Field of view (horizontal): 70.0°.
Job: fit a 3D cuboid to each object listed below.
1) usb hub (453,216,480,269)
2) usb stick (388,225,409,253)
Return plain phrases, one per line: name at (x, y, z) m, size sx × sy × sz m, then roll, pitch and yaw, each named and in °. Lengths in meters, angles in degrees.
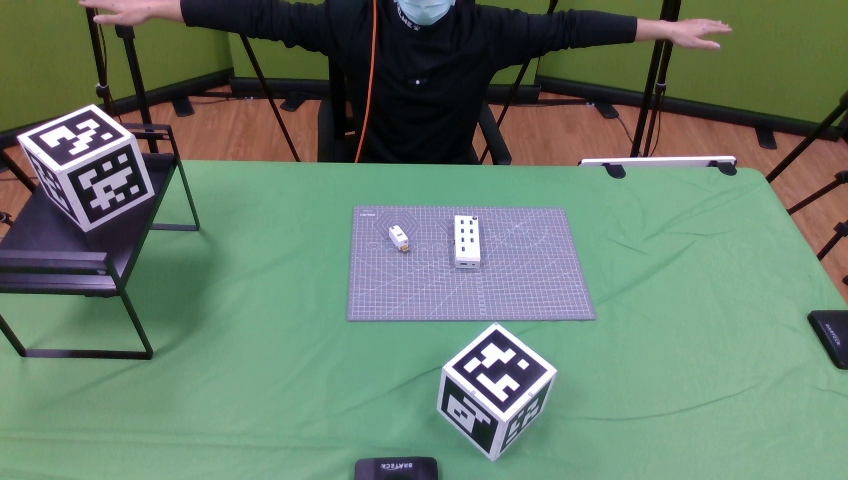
usb hub at (0.084, 0.003, 1.196) m, size 0.049 × 0.025 × 0.124 m, roll 3°, pitch 47°, yaw -2°
usb stick at (-0.048, 0.000, 1.187) m, size 0.021 × 0.027 × 0.059 m, roll -19°, pitch 53°, yaw -23°
